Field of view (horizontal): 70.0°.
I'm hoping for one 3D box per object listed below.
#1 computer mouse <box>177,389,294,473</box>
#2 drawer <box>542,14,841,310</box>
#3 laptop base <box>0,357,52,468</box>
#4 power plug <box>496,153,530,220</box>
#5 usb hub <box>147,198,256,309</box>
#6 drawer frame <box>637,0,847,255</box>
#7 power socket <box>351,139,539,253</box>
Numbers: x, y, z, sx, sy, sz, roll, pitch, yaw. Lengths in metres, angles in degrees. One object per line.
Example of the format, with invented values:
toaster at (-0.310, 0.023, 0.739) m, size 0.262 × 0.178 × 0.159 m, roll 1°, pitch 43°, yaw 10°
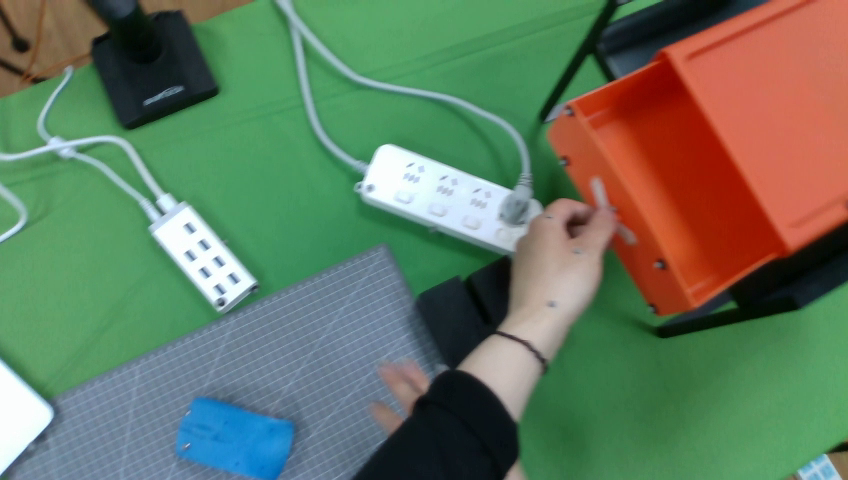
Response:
computer mouse at (-0.197, 0.198, 0.628) m, size 0.117 × 0.041 × 0.062 m, roll 15°, pitch 77°, yaw 1°
drawer at (0.243, -0.073, 0.529) m, size 0.212 × 0.073 × 0.193 m, roll -28°, pitch 81°, yaw -11°
laptop base at (-0.578, 0.229, 0.594) m, size 0.235 × 0.023 × 0.353 m, roll 40°, pitch 77°, yaw 2°
power plug at (0.111, -0.057, 0.702) m, size 0.035 × 0.053 × 0.072 m, roll 32°, pitch 74°, yaw 3°
usb hub at (-0.247, 0.014, 0.673) m, size 0.049 × 0.025 × 0.125 m, roll -42°, pitch 84°, yaw -12°
drawer frame at (0.325, -0.117, 0.547) m, size 0.214 × 0.083 × 0.201 m, roll -28°, pitch 81°, yaw -12°
power socket at (0.028, -0.051, 0.712) m, size 0.227 × 0.033 × 0.072 m, roll 21°, pitch 76°, yaw 0°
